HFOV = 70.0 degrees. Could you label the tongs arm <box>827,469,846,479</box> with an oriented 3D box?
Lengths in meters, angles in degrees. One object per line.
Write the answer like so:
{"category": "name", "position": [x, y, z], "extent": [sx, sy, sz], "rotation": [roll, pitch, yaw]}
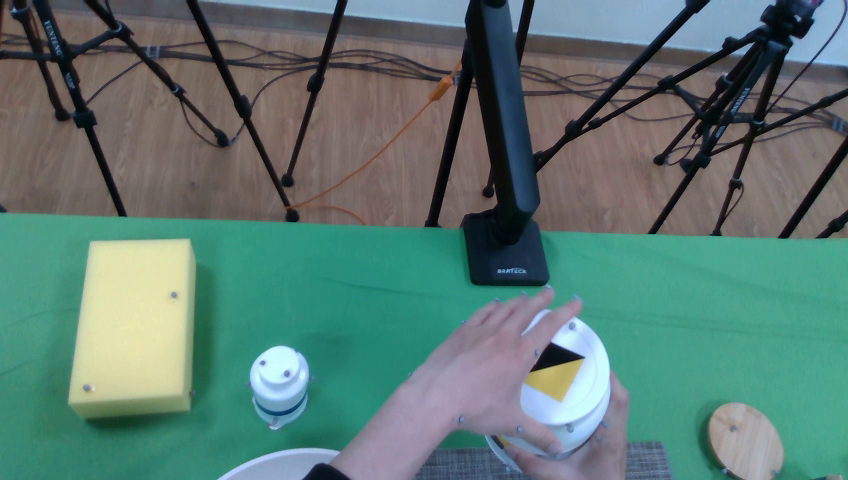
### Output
{"category": "tongs arm", "position": [0.555, 0.460, 0.692], "extent": [0.051, 0.026, 0.382], "rotation": [-2, 70, -15]}

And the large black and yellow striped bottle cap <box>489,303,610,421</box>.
{"category": "large black and yellow striped bottle cap", "position": [0.119, 0.114, 0.580], "extent": [0.115, 0.019, 0.114], "rotation": [-2, 60, 5]}

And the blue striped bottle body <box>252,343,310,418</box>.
{"category": "blue striped bottle body", "position": [-0.164, 0.158, 0.700], "extent": [0.063, 0.121, 0.062], "rotation": [6, 57, -8]}

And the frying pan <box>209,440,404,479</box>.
{"category": "frying pan", "position": [-0.113, 0.437, 0.547], "extent": [0.307, 0.103, 0.482], "rotation": [0, 51, -10]}

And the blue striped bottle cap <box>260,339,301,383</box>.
{"category": "blue striped bottle cap", "position": [-0.156, 0.131, 0.658], "extent": [0.045, 0.021, 0.044], "rotation": [6, 59, -9]}

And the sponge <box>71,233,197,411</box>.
{"category": "sponge", "position": [-0.343, 0.094, 0.736], "extent": [0.118, 0.061, 0.205], "rotation": [-3, 60, -14]}

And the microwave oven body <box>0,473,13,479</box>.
{"category": "microwave oven body", "position": [-0.522, 0.380, 0.396], "extent": [0.327, 0.261, 0.437], "rotation": [2, 59, -12]}

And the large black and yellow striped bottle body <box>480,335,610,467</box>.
{"category": "large black and yellow striped bottle body", "position": [0.126, 0.159, 0.651], "extent": [0.131, 0.185, 0.129], "rotation": [-3, 58, 4]}

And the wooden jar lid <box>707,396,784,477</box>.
{"category": "wooden jar lid", "position": [0.435, 0.268, 0.828], "extent": [0.108, 0.021, 0.107], "rotation": [5, 59, -9]}

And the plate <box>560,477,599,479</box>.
{"category": "plate", "position": [0.187, 0.380, 0.688], "extent": [0.209, 0.038, 0.207], "rotation": [5, 58, -8]}
